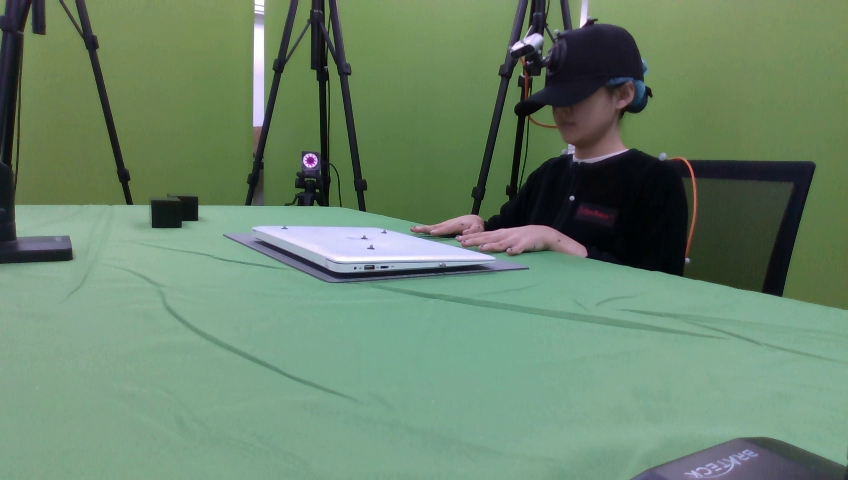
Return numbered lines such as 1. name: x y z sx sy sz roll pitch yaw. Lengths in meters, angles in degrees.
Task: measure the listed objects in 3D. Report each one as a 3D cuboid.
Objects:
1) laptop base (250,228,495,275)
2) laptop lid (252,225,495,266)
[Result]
1. laptop base: -0.093 0.015 0.884 0.237 0.023 0.352 3 6 -32
2. laptop lid: -0.090 0.004 0.883 0.243 0.013 0.355 1 7 -31
